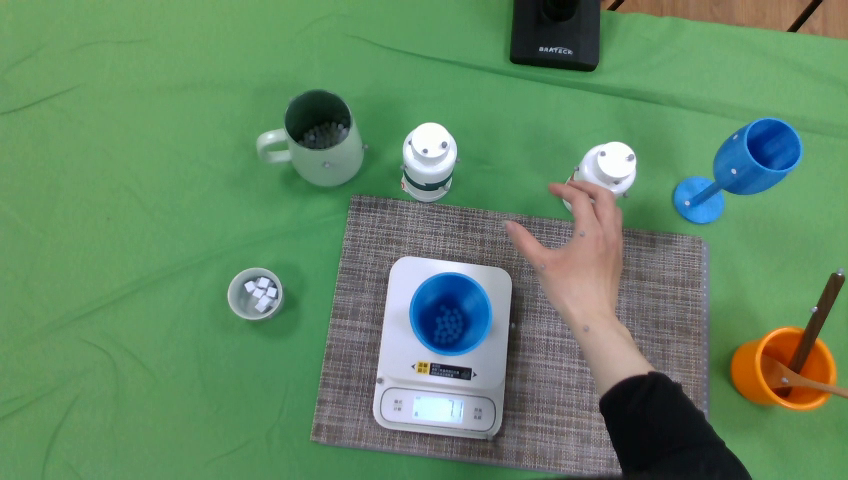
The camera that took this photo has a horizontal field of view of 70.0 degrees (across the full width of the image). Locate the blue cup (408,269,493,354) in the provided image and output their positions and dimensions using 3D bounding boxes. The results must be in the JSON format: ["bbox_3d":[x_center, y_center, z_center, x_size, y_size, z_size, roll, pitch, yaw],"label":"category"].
[{"bbox_3d":[0.024,0.082,0.650,0.093,0.100,0.092,1,78,-4],"label":"blue cup"}]

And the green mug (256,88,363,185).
[{"bbox_3d":[-0.139,-0.119,0.730,0.125,0.105,0.092,-14,76,-6],"label":"green mug"}]

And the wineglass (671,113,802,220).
[{"bbox_3d":[0.355,-0.079,0.704,0.074,0.173,0.073,0,75,-1],"label":"wineglass"}]

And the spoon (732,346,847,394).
[{"bbox_3d":[0.437,0.157,0.659,0.022,0.192,0.041,28,80,-40],"label":"spoon"}]

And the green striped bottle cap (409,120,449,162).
[{"bbox_3d":[0.005,-0.111,0.672,0.044,0.020,0.044,1,74,-3],"label":"green striped bottle cap"}]

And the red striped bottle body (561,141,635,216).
[{"bbox_3d":[0.209,-0.075,0.726,0.063,0.120,0.062,1,75,-2],"label":"red striped bottle body"}]

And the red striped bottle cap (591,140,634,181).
[{"bbox_3d":[0.211,-0.089,0.674,0.044,0.018,0.044,1,73,-2],"label":"red striped bottle cap"}]

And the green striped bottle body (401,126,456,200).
[{"bbox_3d":[0.004,-0.096,0.722,0.063,0.120,0.063,1,74,-2],"label":"green striped bottle body"}]

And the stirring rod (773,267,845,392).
[{"bbox_3d":[0.425,0.104,0.672,0.014,0.177,0.006,12,34,14],"label":"stirring rod"}]

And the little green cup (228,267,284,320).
[{"bbox_3d":[-0.195,0.065,0.713,0.061,0.039,0.061,1,75,-3],"label":"little green cup"}]

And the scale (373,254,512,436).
[{"bbox_3d":[0.024,0.120,0.708,0.149,0.032,0.200,6,75,0],"label":"scale"}]
